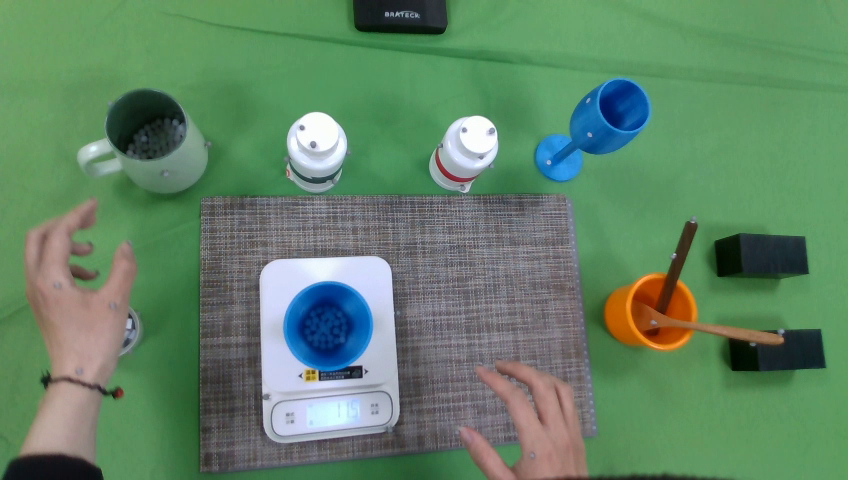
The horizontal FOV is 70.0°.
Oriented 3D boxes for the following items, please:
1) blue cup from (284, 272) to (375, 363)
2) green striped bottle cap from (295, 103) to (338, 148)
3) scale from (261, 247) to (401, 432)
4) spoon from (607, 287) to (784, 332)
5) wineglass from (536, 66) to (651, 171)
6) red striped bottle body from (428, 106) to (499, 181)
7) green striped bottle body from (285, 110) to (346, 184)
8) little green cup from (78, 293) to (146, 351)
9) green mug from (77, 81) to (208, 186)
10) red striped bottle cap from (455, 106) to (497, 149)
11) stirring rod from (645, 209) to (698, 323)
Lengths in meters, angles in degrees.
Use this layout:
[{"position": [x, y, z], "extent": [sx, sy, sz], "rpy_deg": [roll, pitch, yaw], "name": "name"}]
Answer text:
[{"position": [-0.098, 0.079, 0.620], "extent": [0.093, 0.100, 0.092], "rpy_deg": [1, 83, -11], "name": "blue cup"}, {"position": [-0.109, -0.117, 0.617], "extent": [0.044, 0.020, 0.044], "rpy_deg": [2, 80, -10], "name": "green striped bottle cap"}, {"position": [-0.104, 0.109, 0.681], "extent": [0.149, 0.031, 0.200], "rpy_deg": [-3, 82, -12], "name": "scale"}, {"position": [0.313, 0.088, 0.715], "extent": [0.022, 0.192, 0.041], "rpy_deg": [18, 82, -53], "name": "spoon"}, {"position": [0.193, -0.137, 0.713], "extent": [0.074, 0.172, 0.073], "rpy_deg": [2, 80, -10], "name": "wineglass"}, {"position": [0.047, -0.114, 0.707], "extent": [0.063, 0.120, 0.063], "rpy_deg": [2, 80, -12], "name": "red striped bottle body"}, {"position": [-0.120, -0.106, 0.671], "extent": [0.063, 0.119, 0.063], "rpy_deg": [2, 80, -11], "name": "green striped bottle body"}, {"position": [-0.325, 0.087, 0.638], "extent": [0.062, 0.038, 0.061], "rpy_deg": [2, 80, -13], "name": "little green cup"}, {"position": [-0.299, -0.105, 0.642], "extent": [0.125, 0.105, 0.092], "rpy_deg": [-24, 86, -14], "name": "green mug"}, {"position": [0.057, -0.122, 0.655], "extent": [0.045, 0.018, 0.044], "rpy_deg": [3, 77, -10], "name": "red striped bottle cap"}, {"position": [0.292, 0.036, 0.719], "extent": [0.014, 0.177, 0.005], "rpy_deg": [4, 39, 2], "name": "stirring rod"}]
